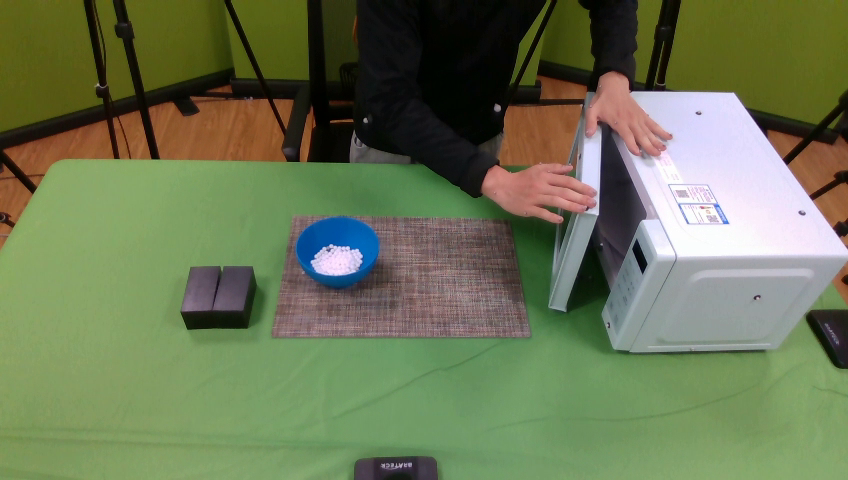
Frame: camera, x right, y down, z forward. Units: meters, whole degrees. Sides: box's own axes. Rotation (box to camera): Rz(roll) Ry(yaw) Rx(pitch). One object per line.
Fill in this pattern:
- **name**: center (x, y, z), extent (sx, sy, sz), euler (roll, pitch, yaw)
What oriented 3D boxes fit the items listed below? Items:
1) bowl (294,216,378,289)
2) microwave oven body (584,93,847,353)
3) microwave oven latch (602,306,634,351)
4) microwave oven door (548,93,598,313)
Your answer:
- **bowl**: center (-0.158, 0.036, 1.110), extent (0.151, 0.077, 0.150), euler (3, 45, -2)
- **microwave oven body**: center (0.475, -0.041, 1.109), extent (0.326, 0.261, 0.438), euler (-1, 45, -4)
- **microwave oven latch**: center (0.332, 0.153, 1.044), extent (0.030, 0.029, 0.078), euler (0, 45, -4)
- **microwave oven door**: center (0.281, -0.078, 1.123), extent (0.039, 0.245, 0.354), euler (11, 46, 6)
